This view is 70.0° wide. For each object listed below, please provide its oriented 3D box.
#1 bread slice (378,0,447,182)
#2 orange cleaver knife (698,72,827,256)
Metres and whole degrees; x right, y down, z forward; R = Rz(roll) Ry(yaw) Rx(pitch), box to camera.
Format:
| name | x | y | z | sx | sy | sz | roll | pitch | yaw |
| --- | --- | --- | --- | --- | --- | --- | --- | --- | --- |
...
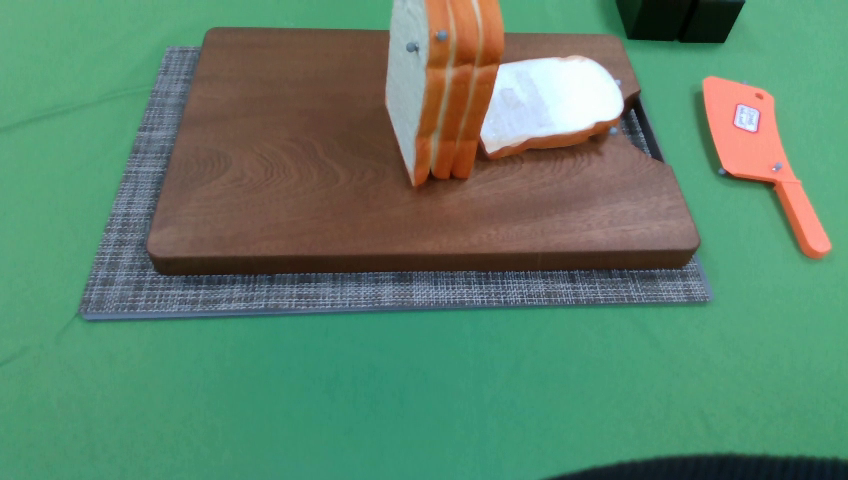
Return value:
| name | x | y | z | sx | sy | sz | roll | pitch | yaw |
| --- | --- | --- | --- | --- | --- | --- | --- | --- | --- |
| bread slice | -0.011 | -0.128 | 0.445 | 0.018 | 0.135 | 0.106 | -7 | 48 | -17 |
| orange cleaver knife | 0.294 | -0.077 | 0.539 | 0.077 | 0.012 | 0.209 | 4 | 55 | -4 |
